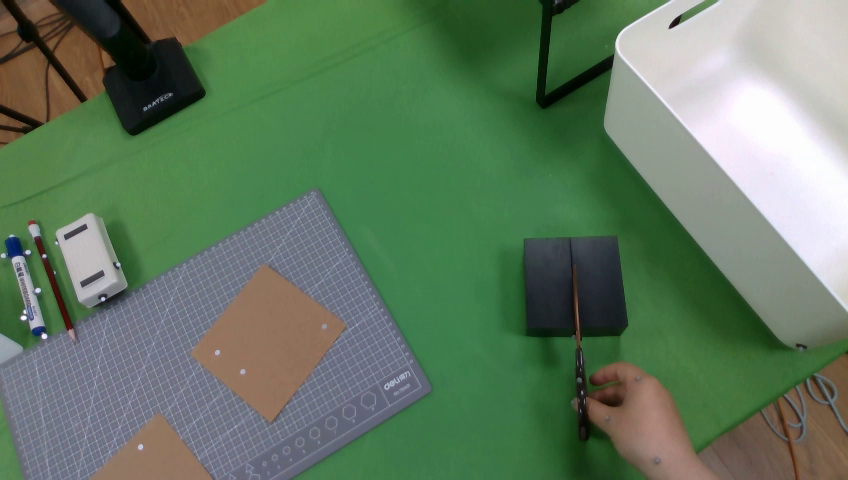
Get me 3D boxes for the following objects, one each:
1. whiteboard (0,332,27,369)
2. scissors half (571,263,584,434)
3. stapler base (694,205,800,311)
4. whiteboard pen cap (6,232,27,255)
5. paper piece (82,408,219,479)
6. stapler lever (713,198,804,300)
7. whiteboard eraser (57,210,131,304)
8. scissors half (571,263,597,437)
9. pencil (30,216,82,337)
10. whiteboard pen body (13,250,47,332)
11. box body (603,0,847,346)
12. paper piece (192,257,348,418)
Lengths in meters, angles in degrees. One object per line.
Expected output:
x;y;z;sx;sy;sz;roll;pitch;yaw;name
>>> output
-0.648;0.056;0.662;0.217;0.309;0.142;-30;49;-4;whiteboard
0.159;0.112;0.631;0.013;0.040;0.175;-2;88;-3;scissors half
0.355;0.014;0.664;0.041;0.024;0.129;-34;72;-3;stapler base
-0.529;0.007;0.786;0.018;0.018;0.033;-31;68;-5;whiteboard pen cap
-0.302;0.278;0.660;0.135;0.004;0.135;42;79;18;paper piece
0.353;0.007;0.639;0.027;0.040;0.117;-34;73;-3;stapler lever
-0.409;0.021;0.755;0.055;0.042;0.112;-31;69;-4;whiteboard eraser
0.159;0.107;0.611;0.013;0.040;0.174;-3;72;2;scissors half
-0.467;0.044;0.769;0.012;0.012;0.192;-33;69;-6;pencil
-0.502;0.054;0.766;0.017;0.017;0.139;-30;69;-4;whiteboard pen body
0.391;-0.100;0.633;0.254;0.161;0.361;-31;69;-4;box body
-0.182;0.111;0.707;0.137;0.009;0.136;35;82;15;paper piece
